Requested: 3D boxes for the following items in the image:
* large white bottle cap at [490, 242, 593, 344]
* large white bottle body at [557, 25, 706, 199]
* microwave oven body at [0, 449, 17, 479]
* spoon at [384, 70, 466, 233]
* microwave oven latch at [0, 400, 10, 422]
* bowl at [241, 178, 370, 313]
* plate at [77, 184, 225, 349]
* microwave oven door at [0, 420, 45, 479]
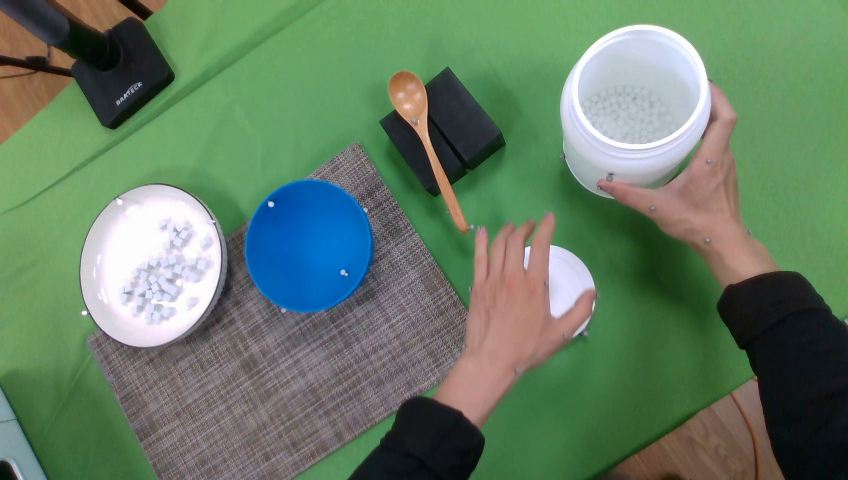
[{"bbox_3d":[0.132,0.060,0.682,0.114,0.018,0.114,-1,85,11],"label":"large white bottle cap"},{"bbox_3d":[0.197,-0.119,0.594,0.130,0.185,0.130,-1,84,14],"label":"large white bottle body"},{"bbox_3d":[-0.619,0.430,0.687,0.326,0.261,0.440,-37,80,6],"label":"microwave oven body"},{"bbox_3d":[0.004,-0.097,0.673,0.041,0.022,0.193,-22,86,6],"label":"spoon"},{"bbox_3d":[-0.580,0.210,0.795,0.030,0.029,0.079,-36,80,6],"label":"microwave oven latch"},{"bbox_3d":[-0.125,0.009,0.706,0.151,0.077,0.151,-1,86,13],"label":"bowl"},{"bbox_3d":[-0.343,0.034,0.773,0.208,0.038,0.208,-2,83,14],"label":"plate"},{"bbox_3d":[-0.480,0.376,0.656,0.039,0.245,0.354,-37,79,7],"label":"microwave oven door"}]
